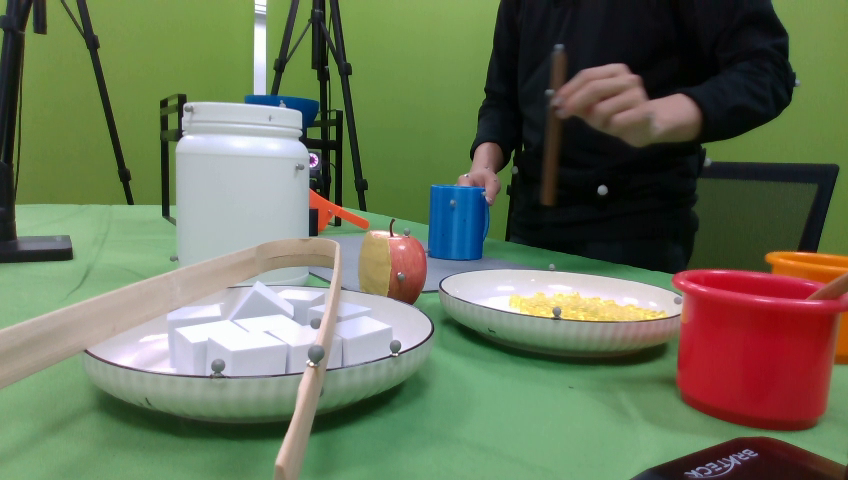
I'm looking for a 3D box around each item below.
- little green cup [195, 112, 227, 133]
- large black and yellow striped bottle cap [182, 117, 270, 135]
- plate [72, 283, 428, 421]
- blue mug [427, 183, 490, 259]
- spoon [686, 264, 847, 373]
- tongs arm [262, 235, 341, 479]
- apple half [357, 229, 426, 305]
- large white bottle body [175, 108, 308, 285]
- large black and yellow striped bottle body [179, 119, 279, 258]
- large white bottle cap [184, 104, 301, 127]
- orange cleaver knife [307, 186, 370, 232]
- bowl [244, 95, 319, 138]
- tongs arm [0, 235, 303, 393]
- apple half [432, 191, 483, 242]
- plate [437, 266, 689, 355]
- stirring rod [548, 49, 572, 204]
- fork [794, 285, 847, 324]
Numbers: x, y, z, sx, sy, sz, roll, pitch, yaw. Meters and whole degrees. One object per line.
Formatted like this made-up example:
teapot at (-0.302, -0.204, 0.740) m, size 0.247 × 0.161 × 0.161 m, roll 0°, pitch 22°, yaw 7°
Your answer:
little green cup at (-0.412, -0.228, 1.171) m, size 0.061 × 0.038 × 0.061 m, roll 3°, pitch 8°, yaw 0°
large black and yellow striped bottle cap at (-0.272, -0.156, 0.833) m, size 0.115 × 0.019 × 0.115 m, roll 1°, pitch 7°, yaw 0°
plate at (-0.102, 0.066, 0.381) m, size 0.208 × 0.039 × 0.207 m, roll 2°, pitch 7°, yaw 0°
blue mug at (0.059, -0.031, 0.906) m, size 0.117 × 0.106 × 0.082 m, roll -5°, pitch 10°, yaw -44°
spoon at (0.214, 0.032, 0.328) m, size 0.042 × 0.021 × 0.193 m, roll -3°, pitch -35°, yaw -26°
tongs arm at (-0.073, 0.039, 0.349) m, size 0.051 × 0.026 × 0.384 m, roll -1°, pitch 10°, yaw -3°
apple half at (-0.026, 0.028, 0.570) m, size 0.053 × 0.074 × 0.080 m, roll 3°, pitch 2°, yaw -28°
large white bottle body at (-0.188, -0.042, 0.630) m, size 0.131 × 0.184 × 0.130 m, roll 2°, pitch 8°, yaw 0°
large black and yellow striped bottle body at (-0.271, -0.074, 0.846) m, size 0.131 × 0.184 × 0.130 m, roll 0°, pitch 9°, yaw 0°
large white bottle cap at (-0.184, -0.126, 0.618) m, size 0.115 × 0.018 × 0.115 m, roll 2°, pitch 8°, yaw 0°
orange cleaver knife at (-0.197, -0.056, 1.141) m, size 0.212 × 0.077 × 0.012 m, roll 29°, pitch 0°, yaw -34°
bowl at (-0.293, -0.251, 1.249) m, size 0.151 × 0.077 × 0.151 m, roll 2°, pitch 7°, yaw 0°
tongs arm at (-0.157, 0.037, 0.351) m, size 0.028 × 0.028 × 0.388 m, roll -3°, pitch 8°, yaw 12°
apple half at (0.049, -0.037, 0.904) m, size 0.081 × 0.081 × 0.033 m, roll 2°, pitch 14°, yaw 0°
plate at (0.114, 0.057, 0.517) m, size 0.209 × 0.038 × 0.209 m, roll 3°, pitch 8°, yaw 0°
stirring rod at (0.156, -0.129, 0.694) m, size 0.014 × 0.176 × 0.006 m, roll 1°, pitch 8°, yaw -18°
fork at (0.331, 0.018, 0.442) m, size 0.028 × 0.018 × 0.207 m, roll -2°, pitch -36°, yaw -15°
